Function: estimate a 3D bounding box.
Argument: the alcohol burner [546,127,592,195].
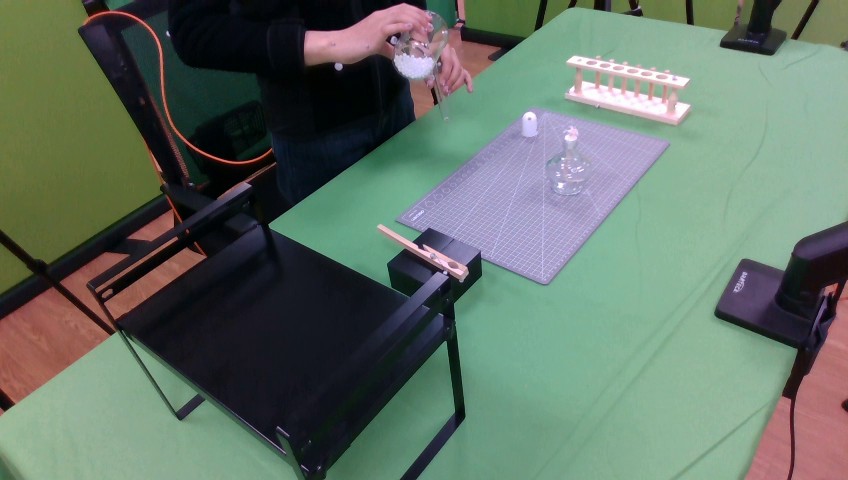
[{"bbox_3d":[0.246,-0.137,1.023,0.078,0.119,0.077,-4,38,4],"label":"alcohol burner"}]

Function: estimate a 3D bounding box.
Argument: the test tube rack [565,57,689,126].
[{"bbox_3d":[0.411,-0.311,1.230,0.240,0.085,0.067,23,49,32],"label":"test tube rack"}]

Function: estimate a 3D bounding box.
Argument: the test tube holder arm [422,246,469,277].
[{"bbox_3d":[0.028,0.031,0.864,0.087,0.015,0.010,25,48,34],"label":"test tube holder arm"}]

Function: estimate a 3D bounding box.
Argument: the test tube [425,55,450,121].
[{"bbox_3d":[0.026,-0.272,1.095,0.017,0.151,0.017,-7,54,11],"label":"test tube"}]

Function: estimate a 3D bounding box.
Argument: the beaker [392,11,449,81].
[{"bbox_3d":[-0.007,-0.309,0.978,0.074,0.084,0.100,7,46,14],"label":"beaker"}]

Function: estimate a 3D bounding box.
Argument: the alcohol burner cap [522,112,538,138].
[{"bbox_3d":[0.210,-0.230,1.195,0.034,0.048,0.033,-5,40,5],"label":"alcohol burner cap"}]

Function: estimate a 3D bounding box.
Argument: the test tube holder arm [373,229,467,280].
[{"bbox_3d":[-0.010,0.019,0.885,0.177,0.015,0.013,23,47,33],"label":"test tube holder arm"}]
